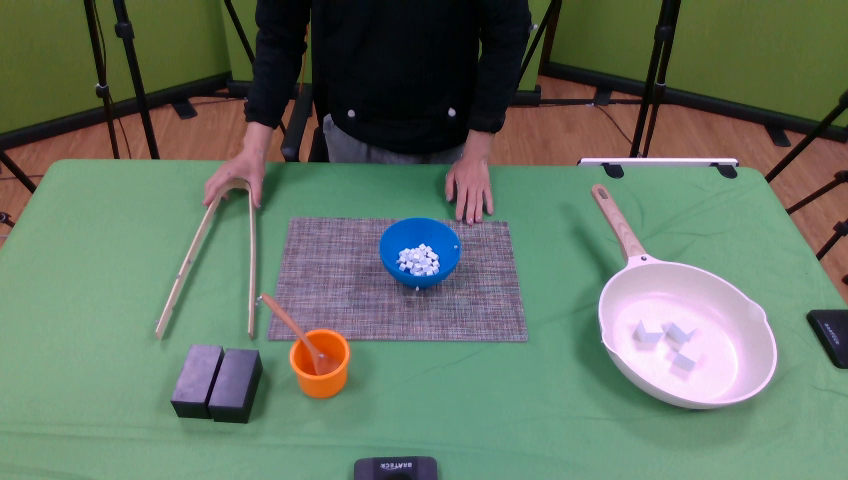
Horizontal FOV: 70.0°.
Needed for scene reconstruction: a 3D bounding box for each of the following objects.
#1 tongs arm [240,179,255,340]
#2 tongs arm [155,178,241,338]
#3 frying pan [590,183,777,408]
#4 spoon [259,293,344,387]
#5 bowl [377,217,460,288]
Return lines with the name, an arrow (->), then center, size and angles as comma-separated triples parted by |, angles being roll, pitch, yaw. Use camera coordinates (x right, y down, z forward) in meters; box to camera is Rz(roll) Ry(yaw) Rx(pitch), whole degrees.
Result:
tongs arm -> -0.332, 0.021, 1.139 | 0.028, 0.028, 0.385 | -9, 49, -7
tongs arm -> -0.413, 0.019, 1.131 | 0.051, 0.026, 0.382 | 3, 47, -1
frying pan -> 0.413, 0.079, 1.097 | 0.307, 0.103, 0.484 | -8, 56, -13
spoon -> -0.191, 0.155, 0.947 | 0.021, 0.194, 0.041 | -12, 28, 51
bowl -> -0.012, 0.036, 1.118 | 0.151, 0.077, 0.150 | 2, 46, -2
